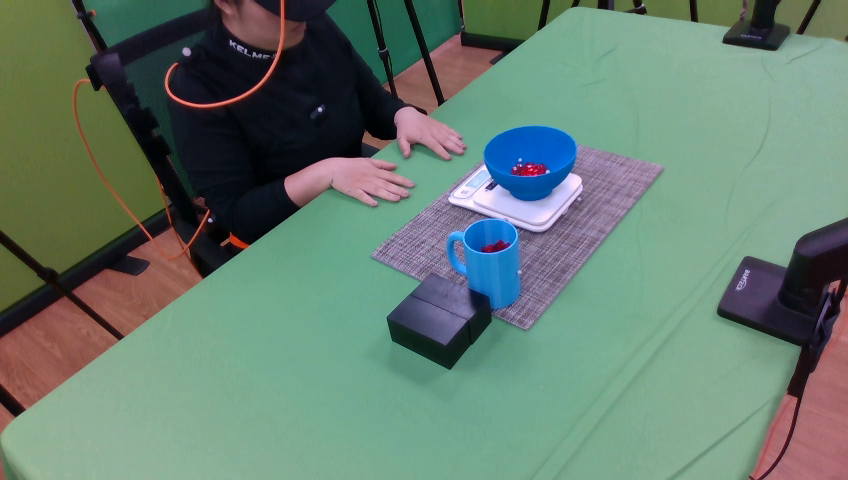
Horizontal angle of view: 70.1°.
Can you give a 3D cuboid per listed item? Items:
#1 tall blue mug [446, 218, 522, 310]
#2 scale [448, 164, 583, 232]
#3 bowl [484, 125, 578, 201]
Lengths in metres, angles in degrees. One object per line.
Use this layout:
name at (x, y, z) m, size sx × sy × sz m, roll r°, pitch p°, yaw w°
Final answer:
tall blue mug at (0.082, 0.034, 0.852) m, size 0.107 × 0.108 × 0.077 m, roll -1°, pitch 41°, yaw 10°
scale at (0.156, -0.085, 1.040) m, size 0.199 × 0.032 × 0.149 m, roll 22°, pitch 49°, yaw 32°
bowl at (0.175, -0.117, 0.991) m, size 0.151 × 0.077 × 0.150 m, roll -6°, pitch 40°, yaw 5°
